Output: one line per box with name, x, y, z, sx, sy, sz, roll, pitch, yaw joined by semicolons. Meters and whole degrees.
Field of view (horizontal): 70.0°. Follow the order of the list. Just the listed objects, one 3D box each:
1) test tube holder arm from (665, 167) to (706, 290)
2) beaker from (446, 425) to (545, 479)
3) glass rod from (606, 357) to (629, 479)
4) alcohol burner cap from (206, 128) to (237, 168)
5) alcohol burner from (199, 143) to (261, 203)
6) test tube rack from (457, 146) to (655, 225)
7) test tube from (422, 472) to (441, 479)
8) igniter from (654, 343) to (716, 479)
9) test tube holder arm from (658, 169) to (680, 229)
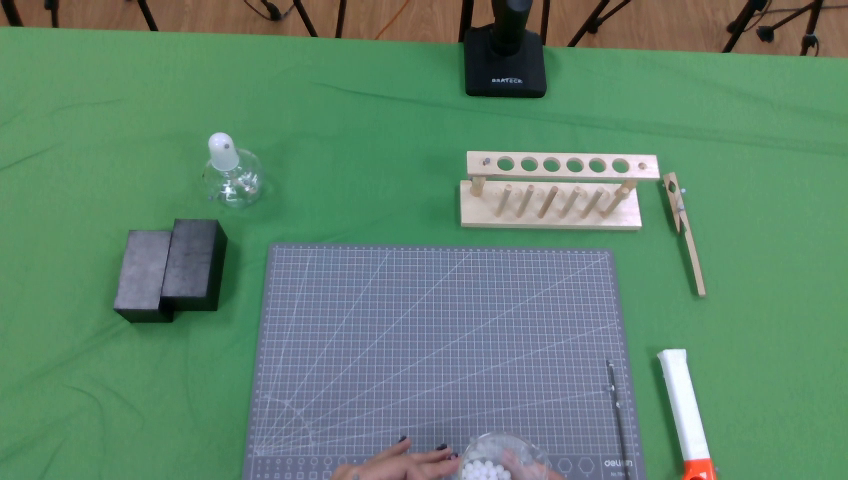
test tube holder arm;0.351;-0.018;0.816;0.013;0.015;0.177;-20;64;26
beaker;0.061;0.213;0.538;0.084;0.101;0.073;-23;64;-19
glass rod;0.226;0.233;0.699;0.008;0.008;0.198;1;66;-4
alcohol burner cap;-0.244;-0.114;0.726;0.034;0.048;0.033;4;60;-7
alcohol burner;-0.247;-0.097;0.758;0.078;0.120;0.077;1;64;-1
test tube rack;0.168;-0.070;0.791;0.242;0.086;0.066;1;66;-4
test tube;0.008;0.225;0.514;0.017;0.151;0.017;-1;54;2
igniter;0.308;0.254;0.689;0.057;0.025;0.274;2;65;-14
test tube holder arm;0.340;-0.057;0.835;0.010;0.015;0.087;-20;65;26
